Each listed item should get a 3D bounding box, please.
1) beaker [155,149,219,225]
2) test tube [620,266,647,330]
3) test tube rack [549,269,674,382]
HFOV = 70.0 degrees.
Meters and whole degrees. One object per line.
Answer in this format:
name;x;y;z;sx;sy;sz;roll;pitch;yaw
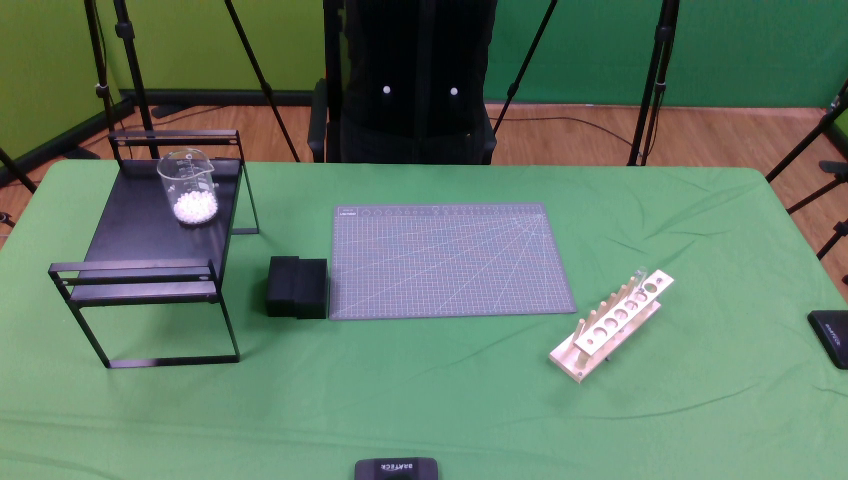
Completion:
beaker;-0.362;-0.080;0.945;0.084;0.101;0.073;4;46;-1
test tube;0.347;0.100;1.013;0.017;0.151;0.017;1;43;0
test tube rack;0.325;0.134;1.047;0.242;0.085;0.066;-32;56;-30
